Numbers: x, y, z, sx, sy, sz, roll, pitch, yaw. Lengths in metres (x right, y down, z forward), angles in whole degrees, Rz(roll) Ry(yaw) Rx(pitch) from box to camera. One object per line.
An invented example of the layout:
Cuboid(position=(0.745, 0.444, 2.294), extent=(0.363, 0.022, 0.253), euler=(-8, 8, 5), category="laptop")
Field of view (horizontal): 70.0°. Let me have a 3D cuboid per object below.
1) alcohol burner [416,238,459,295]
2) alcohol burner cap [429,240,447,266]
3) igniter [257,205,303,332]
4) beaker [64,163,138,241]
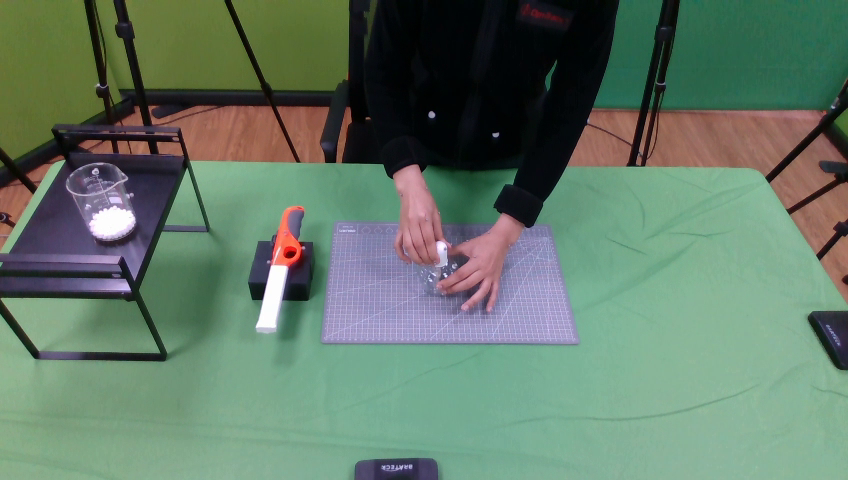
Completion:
Cuboid(position=(0.025, 0.042, 1.088), extent=(0.078, 0.120, 0.077), euler=(1, 46, -1), category="alcohol burner")
Cuboid(position=(0.027, 0.020, 1.067), extent=(0.034, 0.048, 0.033), euler=(2, 48, -3), category="alcohol burner cap")
Cuboid(position=(-0.252, 0.040, 1.070), extent=(0.057, 0.025, 0.275), euler=(3, 50, -2), category="igniter")
Cuboid(position=(-0.477, -0.055, 0.910), extent=(0.084, 0.101, 0.073), euler=(-9, 48, -13), category="beaker")
